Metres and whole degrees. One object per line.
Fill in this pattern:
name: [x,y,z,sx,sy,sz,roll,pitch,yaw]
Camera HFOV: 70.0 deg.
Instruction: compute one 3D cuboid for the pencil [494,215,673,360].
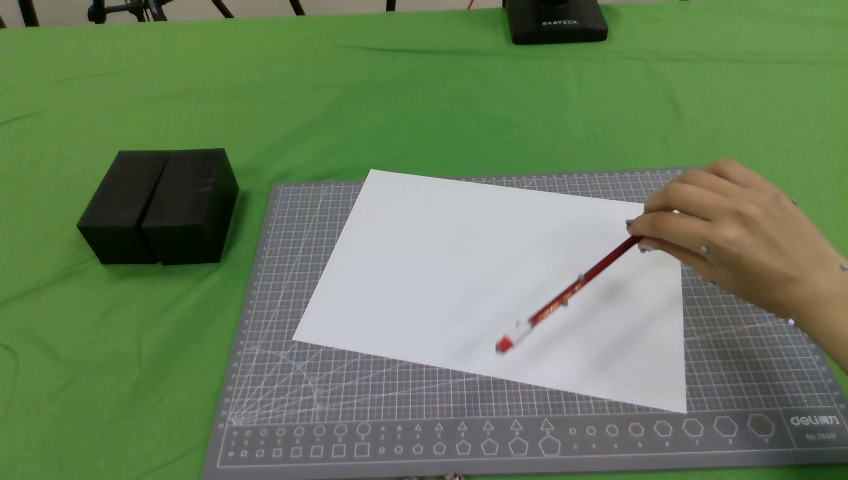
pencil: [0.124,0.029,0.447,0.194,0.012,0.012,-33,54,-23]
